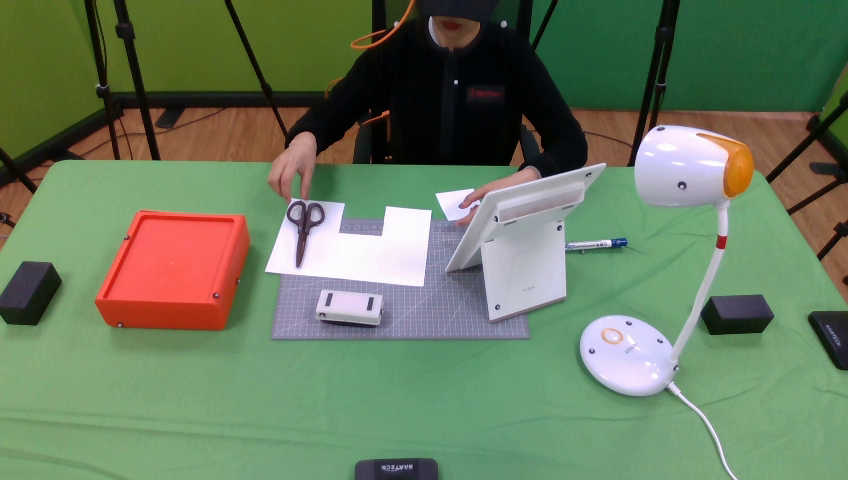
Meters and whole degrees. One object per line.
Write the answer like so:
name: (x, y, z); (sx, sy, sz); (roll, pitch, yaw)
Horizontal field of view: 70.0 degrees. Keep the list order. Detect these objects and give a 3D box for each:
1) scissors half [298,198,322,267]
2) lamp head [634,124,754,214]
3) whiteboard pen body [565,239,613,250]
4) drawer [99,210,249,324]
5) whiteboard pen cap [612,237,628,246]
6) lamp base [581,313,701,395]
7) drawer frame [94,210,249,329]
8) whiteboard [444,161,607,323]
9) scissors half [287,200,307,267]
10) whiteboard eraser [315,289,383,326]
scissors half: (-0.228, -0.016, 1.191); (0.040, 0.013, 0.174); (-5, 51, 10)
lamp head: (0.351, -0.089, 0.775); (0.112, 0.113, 0.122); (-30, 30, -28)
whiteboard pen body: (0.331, 0.008, 1.211); (0.141, 0.017, 0.017); (-5, 47, -4)
drawer: (-0.435, 0.044, 1.081); (0.194, 0.073, 0.210); (3, 47, -2)
whiteboard pen cap: (0.390, 0.004, 1.215); (0.033, 0.018, 0.018); (-7, 47, -2)
lamp base: (0.361, 0.144, 0.972); (0.178, 0.181, 0.160); (34, 53, 23)
drawer frame: (-0.434, 0.048, 1.076); (0.202, 0.083, 0.212); (2, 47, -3)
whiteboard: (0.186, 0.025, 1.029); (0.217, 0.306, 0.143); (-14, 68, -18)
scissors half: (-0.247, -0.013, 1.194); (0.040, 0.013, 0.174); (-19, 49, 5)
whiteboard eraser: (-0.130, 0.119, 1.054); (0.113, 0.042, 0.055); (6, 47, 1)
